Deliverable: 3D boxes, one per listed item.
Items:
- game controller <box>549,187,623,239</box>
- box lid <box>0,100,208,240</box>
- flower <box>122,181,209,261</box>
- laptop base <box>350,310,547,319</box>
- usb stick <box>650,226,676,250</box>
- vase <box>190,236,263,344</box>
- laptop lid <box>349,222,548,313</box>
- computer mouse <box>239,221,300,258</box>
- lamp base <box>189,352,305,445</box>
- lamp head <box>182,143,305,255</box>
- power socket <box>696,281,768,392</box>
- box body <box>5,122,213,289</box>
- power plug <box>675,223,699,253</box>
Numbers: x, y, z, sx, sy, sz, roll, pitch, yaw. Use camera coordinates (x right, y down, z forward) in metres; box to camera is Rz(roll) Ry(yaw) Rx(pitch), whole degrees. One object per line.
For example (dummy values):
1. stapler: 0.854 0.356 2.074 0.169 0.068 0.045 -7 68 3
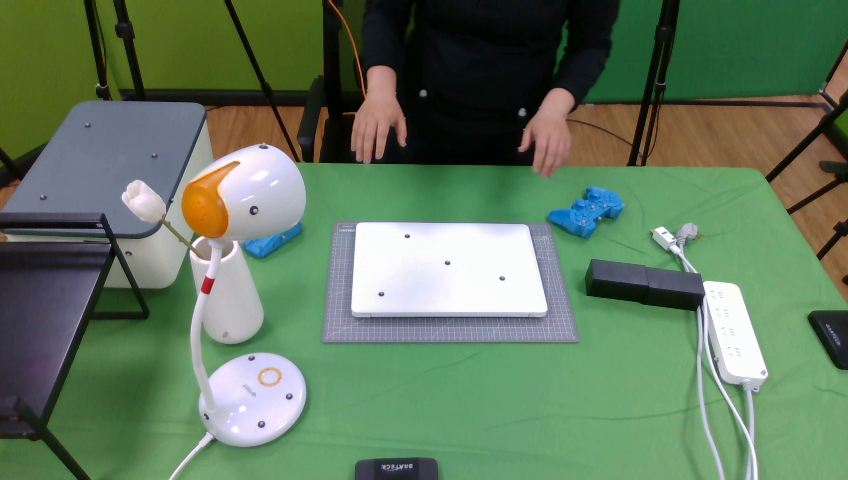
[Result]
1. game controller: 0.346 -0.065 1.272 0.155 0.052 0.096 -31 58 -29
2. box lid: -0.559 -0.138 1.085 0.263 0.015 0.369 2 46 -2
3. flower: -0.329 0.029 0.905 0.038 0.364 0.044 -21 58 -1
4. laptop base: 0.041 0.056 1.149 0.355 0.023 0.234 0 43 -4
5. usb stick: 0.485 -0.008 1.237 0.021 0.027 0.059 -22 44 -13
6. vase: -0.317 0.081 0.971 0.098 0.201 0.097 3 47 -3
7. laptop lid: 0.042 0.046 1.142 0.357 0.013 0.240 2 44 -3
8. computer mouse: -0.300 -0.016 1.178 0.062 0.041 0.117 35 57 22
9. lamp base: -0.268 0.196 0.876 0.160 0.181 0.179 25 52 20
10. lamp head: -0.216 -0.044 0.697 0.112 0.113 0.123 23 31 17
11. power socket: 0.543 0.161 1.077 0.072 0.033 0.225 6 46 2
12. box body: -0.563 -0.087 1.140 0.254 0.161 0.361 2 46 -3
13. power plug: 0.537 0.000 1.243 0.053 0.035 0.072 19 82 -17
